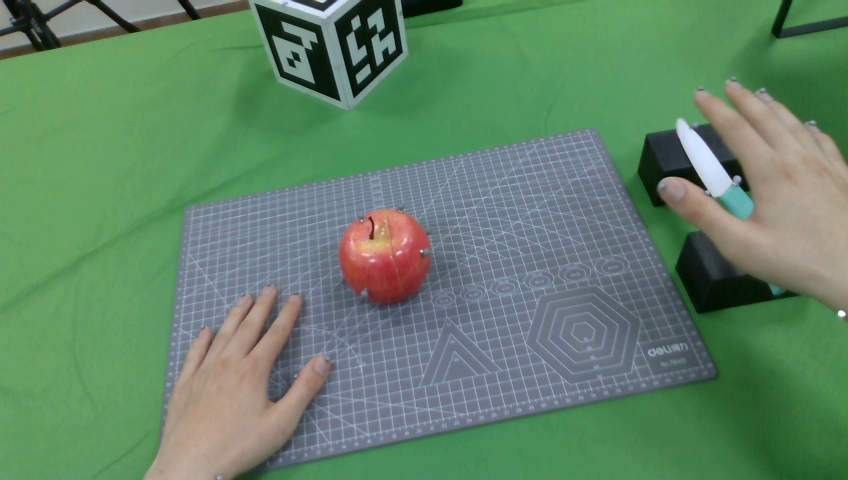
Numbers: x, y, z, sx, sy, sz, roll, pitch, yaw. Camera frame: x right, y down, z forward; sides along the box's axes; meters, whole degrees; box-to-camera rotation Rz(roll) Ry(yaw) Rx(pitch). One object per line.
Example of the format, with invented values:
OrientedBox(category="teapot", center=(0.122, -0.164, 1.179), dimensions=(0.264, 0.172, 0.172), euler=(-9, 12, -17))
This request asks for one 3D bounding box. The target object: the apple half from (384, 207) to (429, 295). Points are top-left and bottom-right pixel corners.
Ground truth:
OrientedBox(category="apple half", center=(-0.011, 0.008, 0.537), dimensions=(0.033, 0.082, 0.080), euler=(-15, 52, 3))

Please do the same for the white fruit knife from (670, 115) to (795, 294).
OrientedBox(category="white fruit knife", center=(0.257, -0.042, 0.519), dimensions=(0.027, 0.016, 0.205), euler=(-17, 51, 6))

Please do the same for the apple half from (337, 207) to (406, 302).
OrientedBox(category="apple half", center=(-0.049, 0.017, 0.537), dimensions=(0.053, 0.075, 0.080), euler=(-14, 57, 3))
